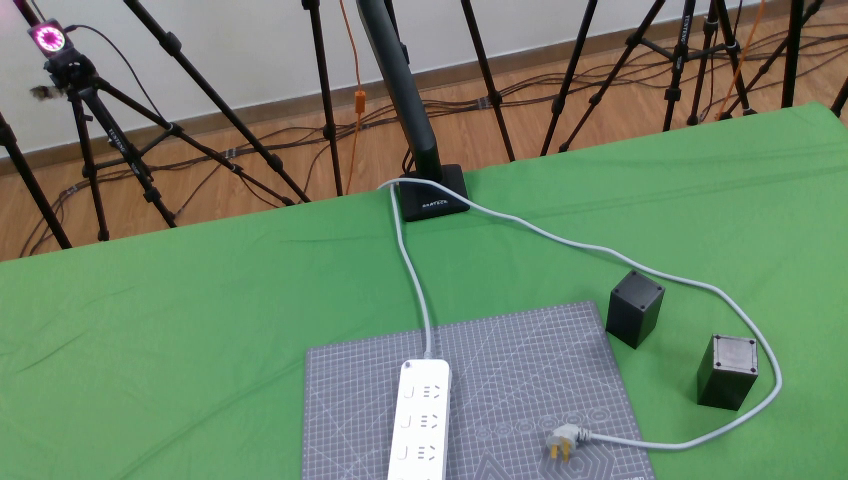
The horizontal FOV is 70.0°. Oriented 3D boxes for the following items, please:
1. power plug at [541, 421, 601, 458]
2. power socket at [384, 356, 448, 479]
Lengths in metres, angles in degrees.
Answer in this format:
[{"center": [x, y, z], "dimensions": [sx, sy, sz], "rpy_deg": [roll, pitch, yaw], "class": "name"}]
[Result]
[{"center": [0.186, 0.254, 0.769], "dimensions": [0.072, 0.035, 0.052], "rpy_deg": [-5, 32, 21], "class": "power plug"}, {"center": [-0.009, 0.258, 0.809], "dimensions": [0.072, 0.033, 0.224], "rpy_deg": [-1, 51, 8], "class": "power socket"}]
